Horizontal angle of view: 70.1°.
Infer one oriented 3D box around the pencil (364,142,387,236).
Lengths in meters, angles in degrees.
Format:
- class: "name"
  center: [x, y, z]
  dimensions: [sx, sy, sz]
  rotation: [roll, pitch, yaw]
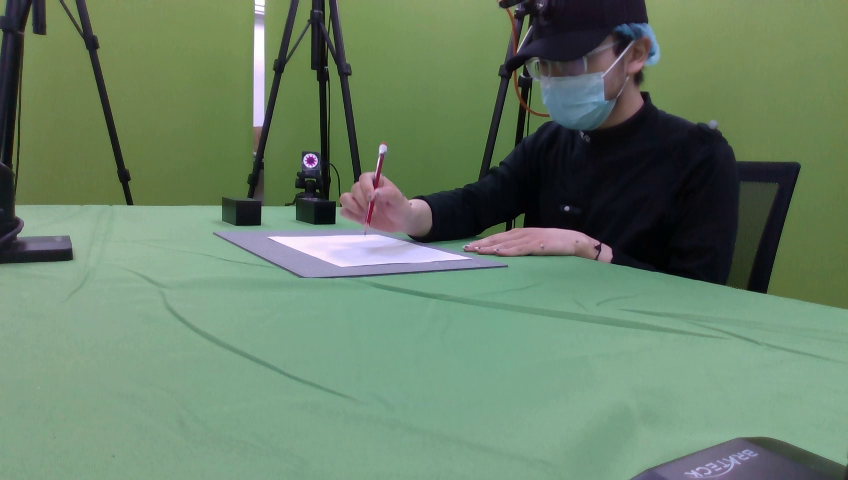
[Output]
- class: "pencil"
  center: [-0.072, -0.079, 0.884]
  dimensions: [0.012, 0.012, 0.193]
  rotation: [3, 49, 5]
